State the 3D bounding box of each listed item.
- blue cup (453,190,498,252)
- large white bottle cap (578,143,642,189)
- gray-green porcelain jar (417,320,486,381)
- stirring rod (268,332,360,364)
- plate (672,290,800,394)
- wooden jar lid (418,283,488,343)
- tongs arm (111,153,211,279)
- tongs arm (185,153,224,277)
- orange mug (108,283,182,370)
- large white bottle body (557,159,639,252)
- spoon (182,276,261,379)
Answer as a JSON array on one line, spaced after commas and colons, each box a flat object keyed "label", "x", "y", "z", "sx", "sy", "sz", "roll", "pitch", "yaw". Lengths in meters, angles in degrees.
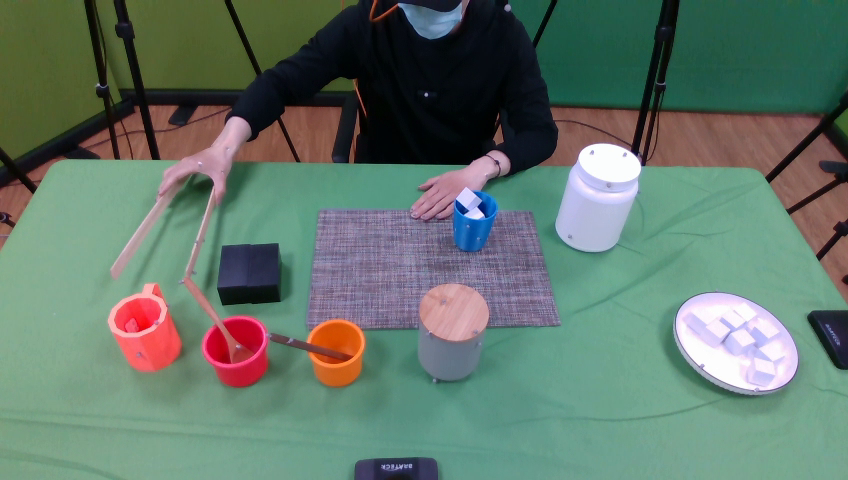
[{"label": "blue cup", "x": 0.093, "y": -0.032, "z": 1.173, "sx": 0.093, "sy": 0.101, "sz": 0.092, "roll": 3, "pitch": 45, "yaw": -3}, {"label": "large white bottle cap", "x": 0.344, "y": -0.139, "z": 1.123, "sx": 0.115, "sy": 0.018, "sz": 0.114, "roll": 2, "pitch": 46, "yaw": -2}, {"label": "gray-green porcelain jar", "x": 0.042, "y": 0.158, "z": 0.975, "sx": 0.106, "sy": 0.127, "sz": 0.105, "roll": 2, "pitch": 46, "yaw": -2}, {"label": "stirring rod", "x": -0.167, "y": 0.169, "z": 0.942, "sx": 0.177, "sy": 0.006, "sz": 0.014, "roll": 26, "pitch": 27, "yaw": -41}, {"label": "plate", "x": 0.533, "y": 0.178, "z": 1.050, "sx": 0.208, "sy": 0.039, "sz": 0.206, "roll": 2, "pitch": 46, "yaw": -2}, {"label": "wooden jar lid", "x": 0.044, "y": 0.114, "z": 0.931, "sx": 0.108, "sy": 0.021, "sz": 0.107, "roll": 2, "pitch": 49, "yaw": -2}, {"label": "tongs arm", "x": -0.509, "y": -0.062, "z": 1.191, "sx": 0.028, "sy": 0.028, "sz": 0.385, "roll": 1, "pitch": 39, "yaw": 8}, {"label": "tongs arm", "x": -0.439, "y": -0.061, "z": 1.192, "sx": 0.051, "sy": 0.026, "sz": 0.382, "roll": -3, "pitch": 39, "yaw": -1}, {"label": "orange mug", "x": -0.445, "y": 0.134, "z": 0.983, "sx": 0.083, "sy": 0.101, "sz": 0.125, "roll": -1, "pitch": 50, "yaw": -5}, {"label": "large white bottle body", "x": 0.340, "y": -0.081, "z": 1.185, "sx": 0.131, "sy": 0.185, "sz": 0.130, "roll": 2, "pitch": 46, "yaw": -1}, {"label": "spoon", "x": -0.321, "y": 0.137, "z": 0.957, "sx": 0.041, "sy": 0.021, "sz": 0.194, "roll": -36, "pitch": 102, "yaw": -32}]
